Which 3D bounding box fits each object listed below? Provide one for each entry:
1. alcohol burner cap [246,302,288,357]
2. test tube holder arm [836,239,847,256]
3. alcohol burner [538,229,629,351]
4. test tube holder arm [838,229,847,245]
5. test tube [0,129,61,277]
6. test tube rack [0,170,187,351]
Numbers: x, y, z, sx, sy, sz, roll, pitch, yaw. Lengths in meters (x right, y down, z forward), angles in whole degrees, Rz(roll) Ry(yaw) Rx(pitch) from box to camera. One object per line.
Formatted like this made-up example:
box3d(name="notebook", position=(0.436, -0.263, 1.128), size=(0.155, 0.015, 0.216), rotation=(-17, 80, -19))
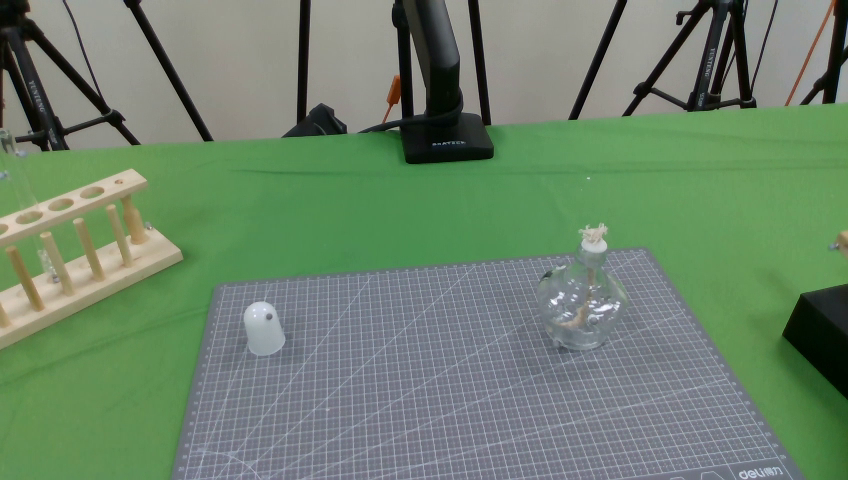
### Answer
box3d(name="alcohol burner cap", position=(-0.139, 0.075, 0.529), size=(0.034, 0.048, 0.033), rotation=(0, 37, 0))
box3d(name="test tube holder arm", position=(0.396, 0.052, 0.486), size=(0.015, 0.013, 0.176), rotation=(-7, 39, -4))
box3d(name="alcohol burner", position=(0.138, 0.037, 0.517), size=(0.078, 0.120, 0.077), rotation=(0, 39, 0))
box3d(name="test tube holder arm", position=(0.390, 0.020, 0.517), size=(0.015, 0.010, 0.087), rotation=(-7, 40, -4))
box3d(name="test tube", position=(-0.359, -0.029, 0.555), size=(0.017, 0.151, 0.017), rotation=(1, 32, -1))
box3d(name="test tube rack", position=(-0.359, 0.026, 0.564), size=(0.066, 0.086, 0.242), rotation=(30, 46, 34))
